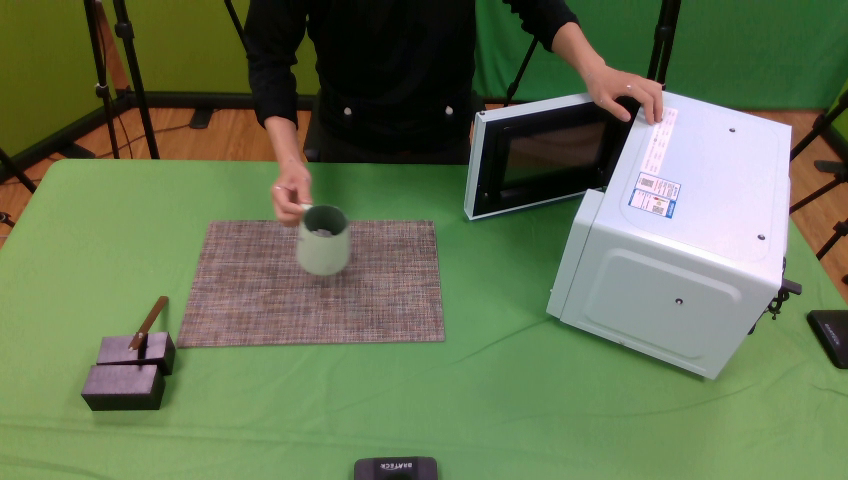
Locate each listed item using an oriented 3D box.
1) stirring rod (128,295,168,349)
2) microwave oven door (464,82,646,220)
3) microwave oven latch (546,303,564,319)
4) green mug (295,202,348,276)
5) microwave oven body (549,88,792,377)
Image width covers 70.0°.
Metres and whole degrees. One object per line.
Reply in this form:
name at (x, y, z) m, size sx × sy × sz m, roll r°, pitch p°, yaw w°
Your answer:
stirring rod at (-0.451, 0.131, 0.996) m, size 0.014 × 0.006 × 0.175 m, roll 9°, pitch 21°, yaw -10°
microwave oven door at (0.258, -0.177, 1.209) m, size 0.356 × 0.245 × 0.039 m, roll -14°, pitch 48°, yaw -16°
microwave oven latch at (0.242, 0.102, 1.081) m, size 0.030 × 0.029 × 0.079 m, roll 22°, pitch 48°, yaw 17°
green mug at (-0.186, -0.010, 1.055) m, size 0.092 × 0.105 × 0.124 m, roll -25°, pitch 58°, yaw -31°
microwave oven body at (0.456, -0.028, 1.088) m, size 0.325 × 0.261 × 0.440 m, roll 20°, pitch 47°, yaw 16°
